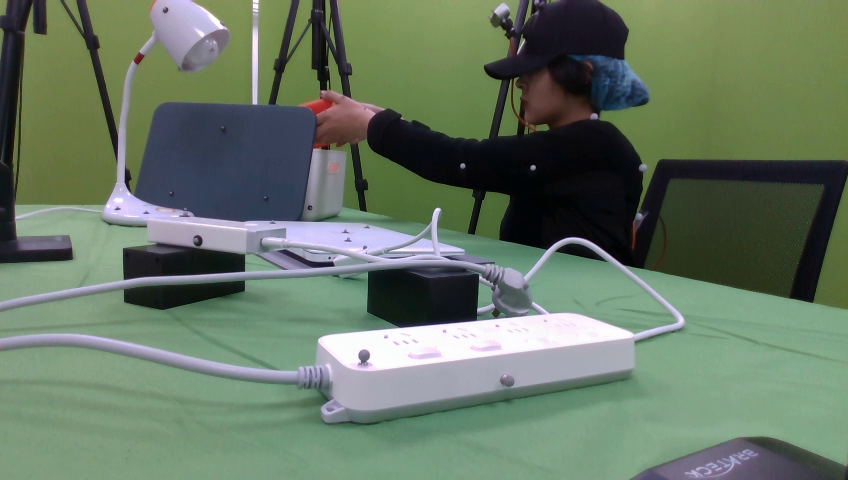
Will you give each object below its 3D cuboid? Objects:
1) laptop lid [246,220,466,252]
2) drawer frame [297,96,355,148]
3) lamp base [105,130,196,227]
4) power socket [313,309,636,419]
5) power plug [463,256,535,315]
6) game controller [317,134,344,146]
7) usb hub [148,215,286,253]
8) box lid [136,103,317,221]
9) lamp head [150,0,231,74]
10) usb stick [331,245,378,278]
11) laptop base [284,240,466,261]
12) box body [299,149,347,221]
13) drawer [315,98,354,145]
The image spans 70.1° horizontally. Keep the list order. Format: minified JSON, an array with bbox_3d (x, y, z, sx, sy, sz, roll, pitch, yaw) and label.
[{"bbox_3d":[-0.123,-0.009,0.945,0.243,0.013,0.355,1,7,-29],"label":"laptop lid"},{"bbox_3d":[-0.285,-0.253,1.392,0.213,0.083,0.201,-16,5,5],"label":"drawer frame"},{"bbox_3d":[-0.532,-0.120,1.153,0.179,0.180,0.161,1,7,8],"label":"lamp base"},{"bbox_3d":[0.039,0.072,0.385,0.228,0.032,0.072,-2,7,-28],"label":"power socket"},{"bbox_3d":[0.064,0.039,0.530,0.072,0.052,0.035,31,43,7],"label":"power plug"},{"bbox_3d":[-0.238,-0.252,1.391,0.097,0.051,0.155,13,7,-1],"label":"game controller"},{"bbox_3d":[-0.197,-0.006,0.575,0.125,0.025,0.050,6,7,22],"label":"usb hub"},{"bbox_3d":[-0.412,-0.162,1.264,0.371,0.263,0.015,3,-14,9],"label":"box lid"},{"bbox_3d":[-0.432,-0.374,1.086,0.123,0.112,0.112,42,8,-2],"label":"lamp head"},{"bbox_3d":[-0.085,0.026,0.702,0.059,0.027,0.021,-17,19,27],"label":"usb stick"},{"bbox_3d":[-0.125,0.002,0.945,0.237,0.023,0.352,2,6,-31],"label":"laptop base"},{"bbox_3d":[-0.384,-0.137,1.407,0.364,0.160,0.254,3,8,8],"label":"box body"},{"bbox_3d":[-0.281,-0.253,1.391,0.212,0.073,0.194,-16,6,6],"label":"drawer"}]
